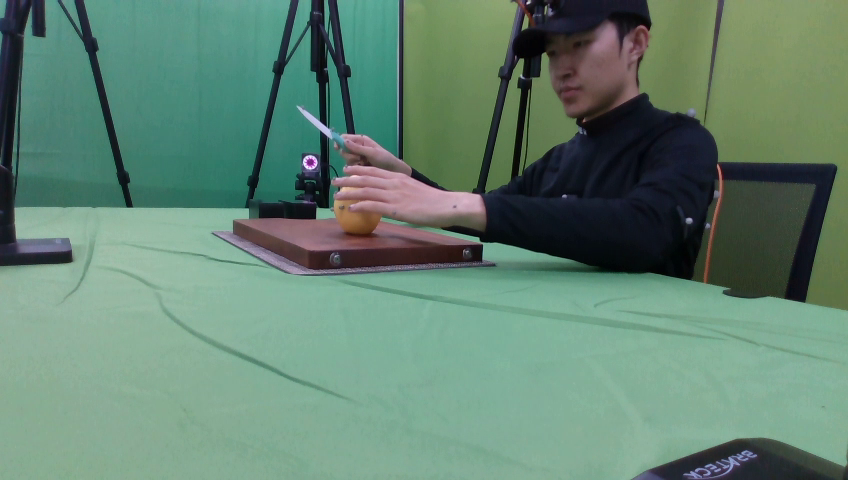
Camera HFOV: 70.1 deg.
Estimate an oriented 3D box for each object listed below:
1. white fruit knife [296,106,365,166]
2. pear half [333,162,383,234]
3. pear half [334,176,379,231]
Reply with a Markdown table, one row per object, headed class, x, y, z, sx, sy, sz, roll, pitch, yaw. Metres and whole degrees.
| class | x | y | z | sx | sy | sz | roll | pitch | yaw |
| --- | --- | --- | --- | --- | --- | --- | --- | --- | --- |
| white fruit knife | -0.193 | -0.219 | 1.267 | 0.016 | 0.027 | 0.208 | -25 | -39 | 24 |
| pear half | -0.099 | -0.063 | 0.918 | 0.076 | 0.110 | 0.055 | -5 | 9 | -21 |
| pear half | -0.109 | -0.058 | 0.953 | 0.071 | 0.088 | 0.031 | -7 | 12 | -21 |
